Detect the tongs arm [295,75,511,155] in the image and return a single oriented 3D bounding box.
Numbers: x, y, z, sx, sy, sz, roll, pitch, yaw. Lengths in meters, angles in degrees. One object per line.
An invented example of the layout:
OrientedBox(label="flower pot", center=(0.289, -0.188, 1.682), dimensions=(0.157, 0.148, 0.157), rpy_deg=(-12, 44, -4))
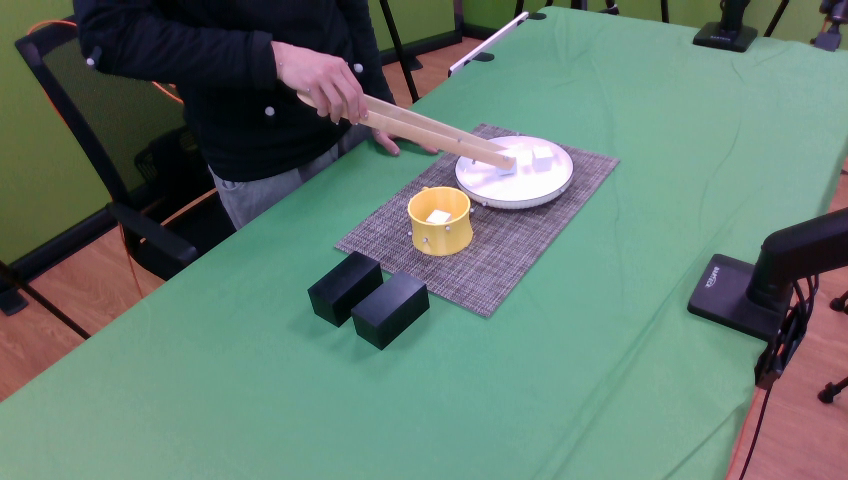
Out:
OrientedBox(label="tongs arm", center=(-0.023, -0.201, 1.011), dimensions=(0.390, 0.028, 0.028), rpy_deg=(15, 40, -22))

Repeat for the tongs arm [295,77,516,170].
OrientedBox(label="tongs arm", center=(-0.020, -0.185, 0.992), dimensions=(0.388, 0.026, 0.050), rpy_deg=(13, 38, -25))

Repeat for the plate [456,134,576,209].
OrientedBox(label="plate", center=(0.161, -0.116, 1.065), dimensions=(0.207, 0.039, 0.206), rpy_deg=(-4, 40, 4))

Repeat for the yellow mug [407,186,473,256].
OrientedBox(label="yellow mug", center=(0.021, -0.041, 0.972), dimensions=(0.100, 0.064, 0.129), rpy_deg=(-19, 41, -12))
